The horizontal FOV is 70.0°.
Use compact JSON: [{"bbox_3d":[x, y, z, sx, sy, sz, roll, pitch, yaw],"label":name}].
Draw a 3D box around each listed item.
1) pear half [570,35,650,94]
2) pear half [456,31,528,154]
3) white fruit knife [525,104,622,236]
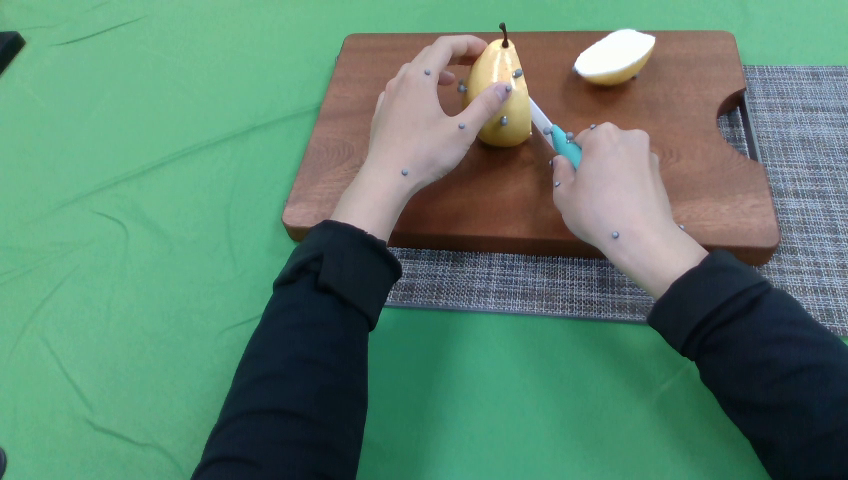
[{"bbox_3d":[0.176,-0.160,0.569,0.070,0.031,0.087,5,43,29],"label":"pear half"},{"bbox_3d":[0.054,-0.125,0.513,0.056,0.111,0.075,-19,48,-8],"label":"pear half"},{"bbox_3d":[0.111,-0.080,0.517,0.016,0.028,0.205,-17,46,-10],"label":"white fruit knife"}]
